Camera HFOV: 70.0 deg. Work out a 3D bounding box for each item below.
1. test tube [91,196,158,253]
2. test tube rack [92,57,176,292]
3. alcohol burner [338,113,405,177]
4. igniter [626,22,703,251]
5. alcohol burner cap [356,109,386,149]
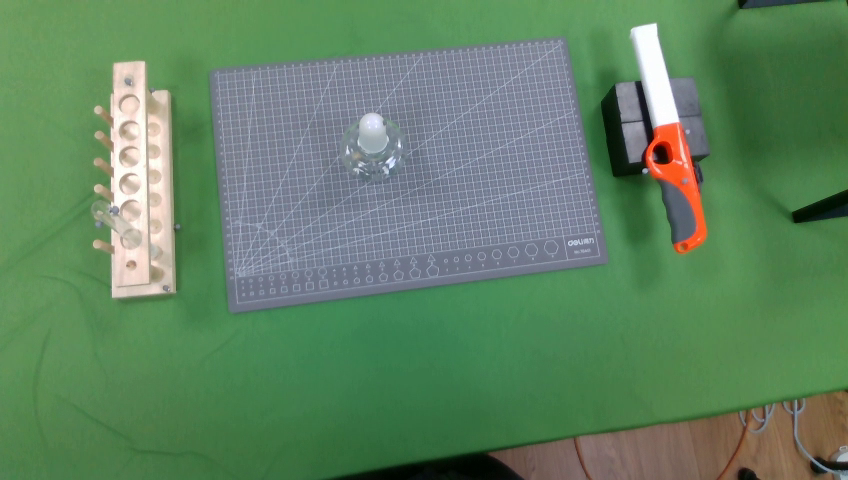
[{"bbox_3d":[-0.297,-0.012,0.608,0.017,0.151,0.017,2,74,-6],"label":"test tube"},{"bbox_3d":[-0.324,-0.069,0.667,0.067,0.085,0.241,-5,80,-5],"label":"test tube rack"},{"bbox_3d":[-0.059,-0.113,0.679,0.078,0.119,0.077,1,80,-3],"label":"alcohol burner"},{"bbox_3d":[0.280,-0.124,0.708,0.057,0.025,0.275,-10,79,6],"label":"igniter"},{"bbox_3d":[-0.057,-0.121,0.645,0.034,0.048,0.033,1,72,-4],"label":"alcohol burner cap"}]
